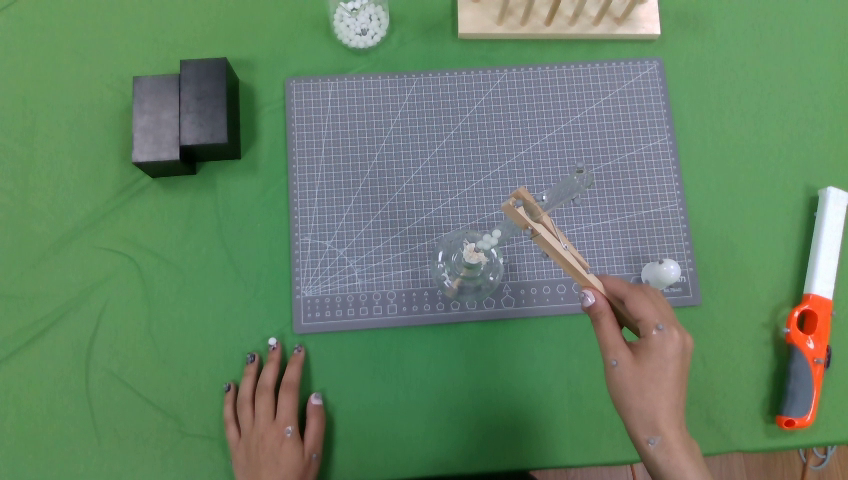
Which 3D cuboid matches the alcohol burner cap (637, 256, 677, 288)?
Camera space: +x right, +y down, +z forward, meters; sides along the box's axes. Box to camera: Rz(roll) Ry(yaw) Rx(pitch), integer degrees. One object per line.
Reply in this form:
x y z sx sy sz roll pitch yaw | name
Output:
0.256 0.033 0.659 0.034 0.048 0.033 0 77 -1 | alcohol burner cap

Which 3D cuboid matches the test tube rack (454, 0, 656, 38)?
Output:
0.159 -0.287 0.701 0.242 0.085 0.066 0 79 -2 | test tube rack

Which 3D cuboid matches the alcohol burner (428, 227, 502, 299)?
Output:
0.043 0.020 0.619 0.078 0.119 0.077 1 77 -3 | alcohol burner

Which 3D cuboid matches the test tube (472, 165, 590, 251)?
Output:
0.079 -0.020 0.483 0.017 0.150 0.017 10 66 -23 | test tube

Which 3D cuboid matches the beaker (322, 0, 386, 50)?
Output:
-0.079 -0.266 0.682 0.074 0.100 0.083 -1 79 -2 | beaker

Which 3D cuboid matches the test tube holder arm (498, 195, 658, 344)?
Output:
0.127 0.027 0.491 0.179 0.015 0.013 43 58 -12 | test tube holder arm

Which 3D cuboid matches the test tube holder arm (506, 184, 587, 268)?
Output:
0.099 -0.008 0.486 0.088 0.015 0.010 50 56 -8 | test tube holder arm

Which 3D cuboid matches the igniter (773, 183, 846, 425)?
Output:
0.427 0.069 0.667 0.057 0.025 0.275 18 79 -8 | igniter
